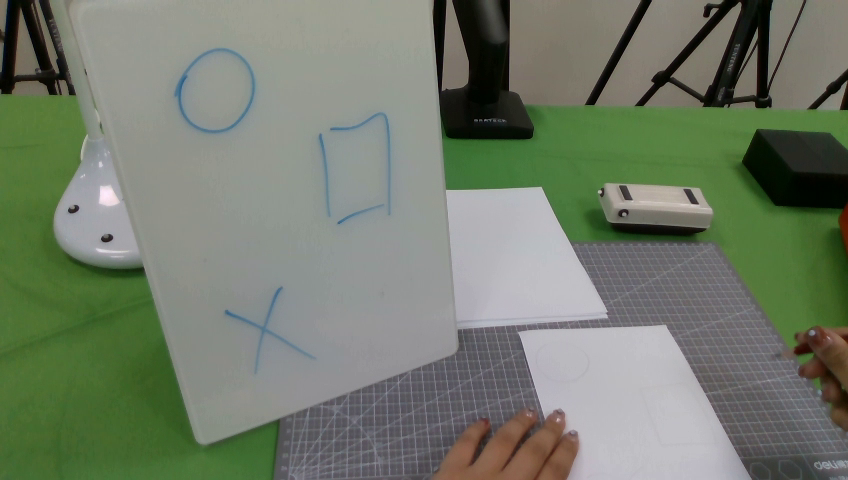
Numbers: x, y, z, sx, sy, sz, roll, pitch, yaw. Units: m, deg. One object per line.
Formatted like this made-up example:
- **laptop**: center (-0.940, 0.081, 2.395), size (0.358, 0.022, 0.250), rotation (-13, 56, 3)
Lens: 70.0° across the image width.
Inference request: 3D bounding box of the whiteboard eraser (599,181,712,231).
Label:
- **whiteboard eraser**: center (0.257, -0.037, 0.679), size (0.113, 0.042, 0.055), rotation (4, 41, -2)

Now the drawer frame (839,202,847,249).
- **drawer frame**: center (0.542, 0.037, 0.591), size (0.201, 0.083, 0.212), rotation (15, 40, 12)

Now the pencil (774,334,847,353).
- **pencil**: center (0.323, 0.057, 0.391), size (0.012, 0.194, 0.012), rotation (14, 65, -31)

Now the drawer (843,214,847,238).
- **drawer**: center (0.542, 0.039, 0.590), size (0.194, 0.074, 0.210), rotation (15, 40, 13)

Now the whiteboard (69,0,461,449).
- **whiteboard**: center (-0.107, -0.036, 0.476), size (0.218, 0.307, 0.142), rotation (-15, 25, -21)

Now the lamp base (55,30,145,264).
- **lamp base**: center (-0.292, -0.095, 0.576), size (0.178, 0.182, 0.160), rotation (26, 44, 27)
